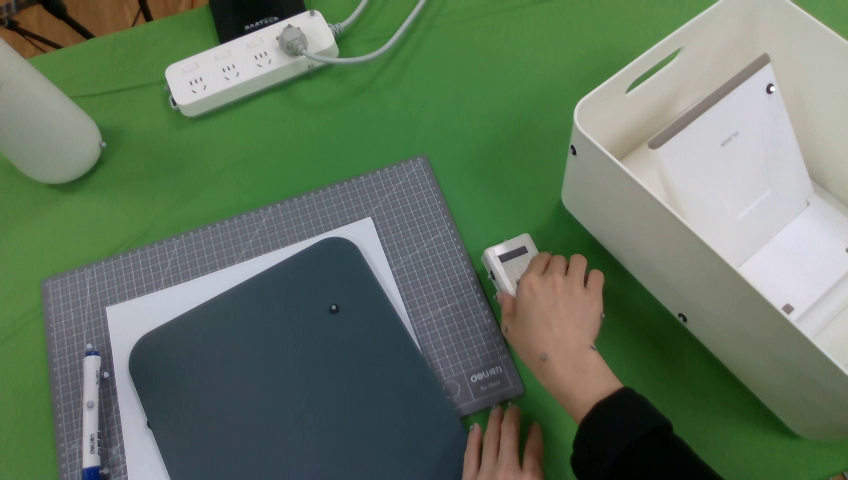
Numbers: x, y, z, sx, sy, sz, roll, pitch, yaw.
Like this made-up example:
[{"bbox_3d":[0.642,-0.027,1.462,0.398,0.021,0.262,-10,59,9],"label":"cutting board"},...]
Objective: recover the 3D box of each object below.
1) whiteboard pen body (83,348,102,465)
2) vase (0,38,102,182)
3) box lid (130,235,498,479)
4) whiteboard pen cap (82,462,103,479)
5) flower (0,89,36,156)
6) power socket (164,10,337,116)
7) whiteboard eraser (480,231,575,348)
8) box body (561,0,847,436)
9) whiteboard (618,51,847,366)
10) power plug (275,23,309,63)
[{"bbox_3d":[-0.324,0.174,0.592,0.017,0.017,0.139,-12,68,-1],"label":"whiteboard pen body"},{"bbox_3d":[-0.439,-0.145,0.649,0.098,0.201,0.097,-2,65,4],"label":"vase"},{"bbox_3d":[-0.107,0.186,0.583,0.263,0.015,0.368,-29,68,-10],"label":"box lid"},{"bbox_3d":[-0.312,0.227,0.570,0.018,0.018,0.033,-12,67,-2],"label":"whiteboard pen cap"},{"bbox_3d":[-0.423,-0.178,0.573,0.038,0.363,0.044,28,60,-3],"label":"flower"},{"bbox_3d":[-0.216,-0.224,0.762,0.227,0.033,0.071,-24,67,-8],"label":"power socket"},{"bbox_3d":[0.104,0.050,0.616,0.055,0.042,0.111,-21,66,-9],"label":"whiteboard eraser"},{"bbox_3d":[0.335,-0.029,0.571,0.254,0.161,0.361,-37,69,-12],"label":"box body"},{"bbox_3d":[0.333,-0.036,0.585,0.217,0.145,0.303,-36,67,-13],"label":"whiteboard"},{"bbox_3d":[-0.159,-0.230,0.737,0.035,0.053,0.072,-15,72,-3],"label":"power plug"}]
